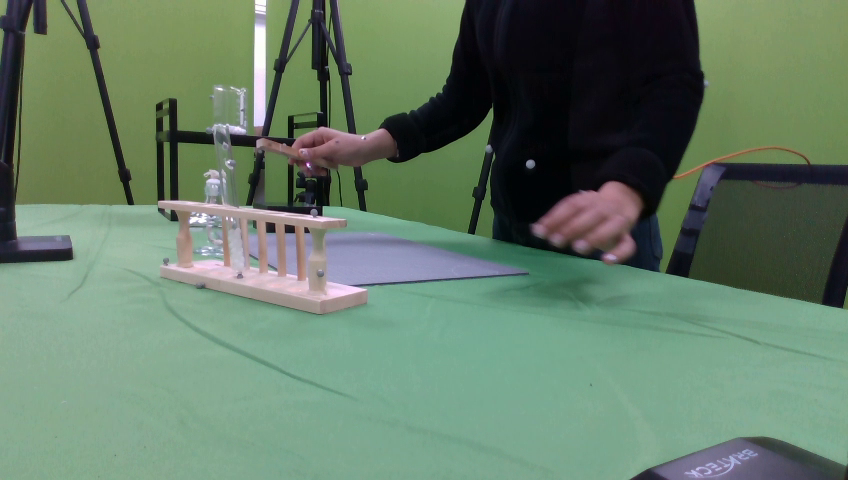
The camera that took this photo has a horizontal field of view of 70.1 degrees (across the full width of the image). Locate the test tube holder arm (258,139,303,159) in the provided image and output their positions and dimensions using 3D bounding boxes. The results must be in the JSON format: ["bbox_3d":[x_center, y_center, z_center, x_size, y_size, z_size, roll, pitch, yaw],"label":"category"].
[{"bbox_3d":[-0.236,-0.150,1.001,0.010,0.015,0.088,-2,-8,34],"label":"test tube holder arm"}]

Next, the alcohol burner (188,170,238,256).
[{"bbox_3d":[-0.296,-0.038,0.850,0.078,0.119,0.078,2,5,0],"label":"alcohol burner"}]

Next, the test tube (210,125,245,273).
[{"bbox_3d":[-0.198,-0.040,0.614,0.017,0.150,0.017,-5,7,1],"label":"test tube"}]

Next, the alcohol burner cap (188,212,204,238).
[{"bbox_3d":[-0.390,-0.029,1.025,0.034,0.048,0.034,3,9,0],"label":"alcohol burner cap"}]

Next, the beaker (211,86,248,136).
[{"bbox_3d":[-0.414,-0.274,1.297,0.074,0.100,0.083,-5,11,-44],"label":"beaker"}]

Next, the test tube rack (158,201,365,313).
[{"bbox_3d":[-0.174,0.009,0.624,0.241,0.085,0.067,7,9,34],"label":"test tube rack"}]

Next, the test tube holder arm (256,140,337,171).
[{"bbox_3d":[-0.215,-0.144,1.041,0.013,0.015,0.179,-2,-8,34],"label":"test tube holder arm"}]
